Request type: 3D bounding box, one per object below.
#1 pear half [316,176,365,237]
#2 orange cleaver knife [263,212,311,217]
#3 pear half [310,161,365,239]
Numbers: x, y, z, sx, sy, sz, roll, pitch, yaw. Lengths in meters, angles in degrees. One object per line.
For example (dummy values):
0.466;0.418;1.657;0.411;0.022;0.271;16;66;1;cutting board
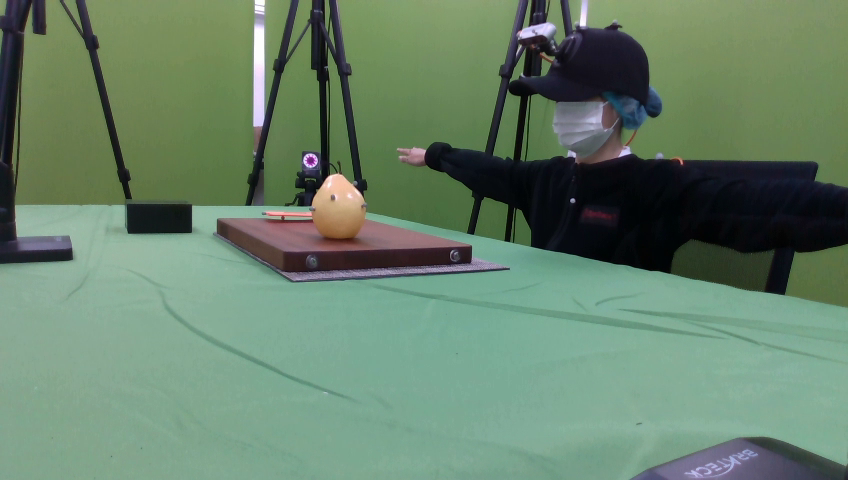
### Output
-0.120;-0.049;0.874;0.070;0.088;0.031;-2;8;0;pear half
-0.192;-0.045;1.097;0.212;0.012;0.077;0;4;-38;orange cleaver knife
-0.122;-0.055;0.837;0.076;0.110;0.056;-2;7;1;pear half
